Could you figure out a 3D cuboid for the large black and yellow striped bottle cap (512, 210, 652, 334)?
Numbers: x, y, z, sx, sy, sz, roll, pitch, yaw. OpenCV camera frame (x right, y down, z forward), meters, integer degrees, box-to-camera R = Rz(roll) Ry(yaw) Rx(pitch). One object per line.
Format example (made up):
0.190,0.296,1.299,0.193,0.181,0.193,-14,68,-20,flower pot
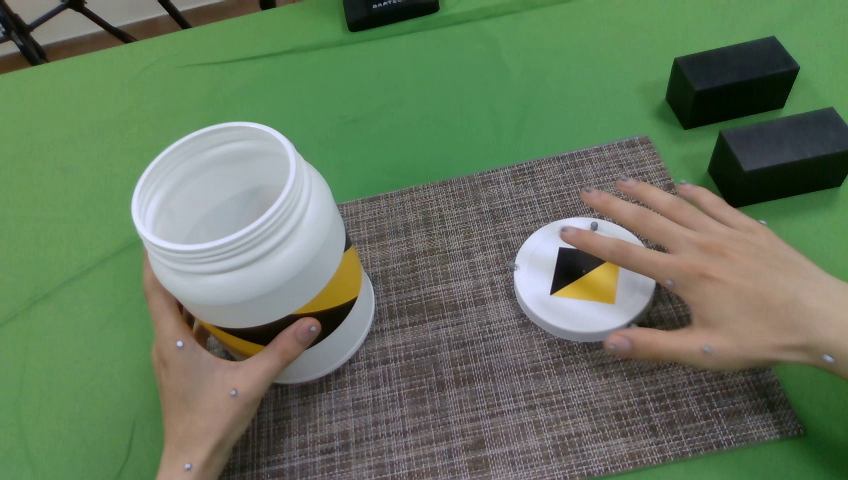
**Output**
0.131,0.024,0.508,0.115,0.019,0.114,-5,56,7,large black and yellow striped bottle cap

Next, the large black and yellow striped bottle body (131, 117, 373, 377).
-0.120,0.011,0.458,0.130,0.186,0.129,-5,55,7,large black and yellow striped bottle body
